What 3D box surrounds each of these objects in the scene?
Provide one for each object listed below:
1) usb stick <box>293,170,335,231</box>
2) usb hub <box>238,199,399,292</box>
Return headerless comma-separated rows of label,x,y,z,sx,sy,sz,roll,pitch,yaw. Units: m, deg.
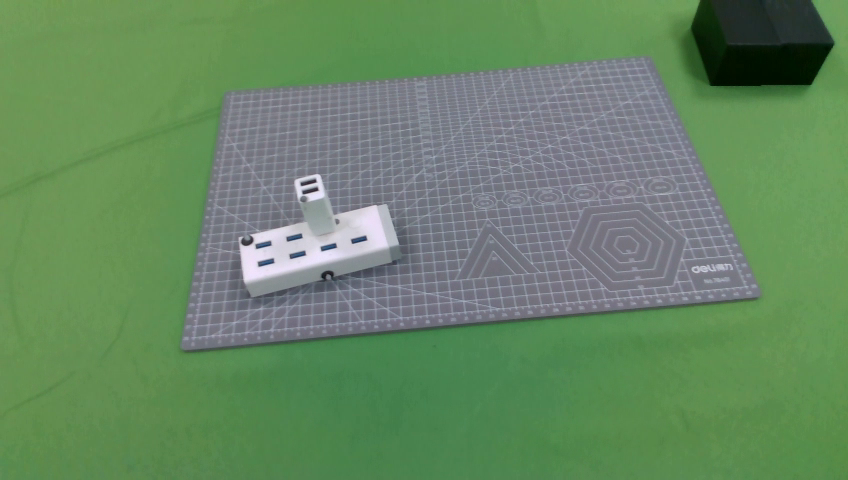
usb stick,-0.086,-0.027,0.483,0.021,0.060,0.027,-16,54,-6
usb hub,-0.087,0.003,0.498,0.125,0.025,0.049,-14,54,-7
